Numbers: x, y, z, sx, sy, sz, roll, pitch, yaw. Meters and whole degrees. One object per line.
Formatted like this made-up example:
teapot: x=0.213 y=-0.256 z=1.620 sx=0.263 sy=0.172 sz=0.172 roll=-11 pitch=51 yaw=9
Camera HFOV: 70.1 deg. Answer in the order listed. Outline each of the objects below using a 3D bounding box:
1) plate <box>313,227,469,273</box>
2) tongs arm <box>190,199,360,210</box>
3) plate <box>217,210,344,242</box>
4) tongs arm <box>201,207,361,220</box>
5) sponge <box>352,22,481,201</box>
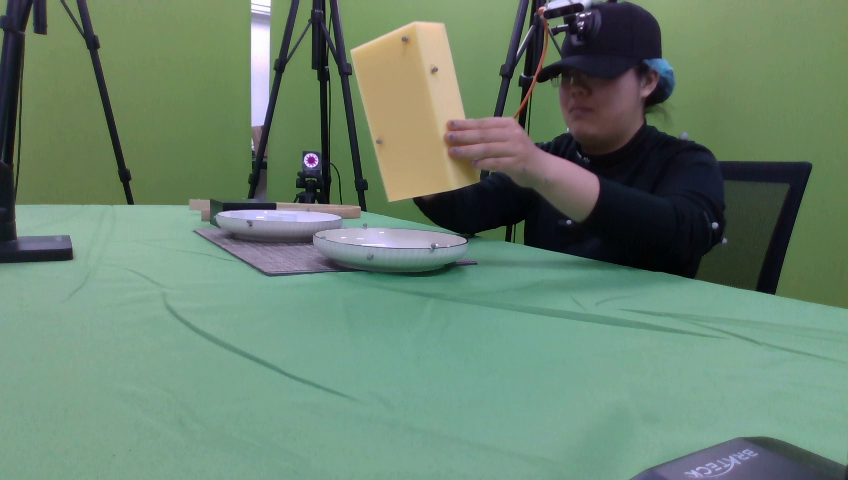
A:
plate: x=-0.044 y=0.012 z=0.807 sx=0.209 sy=0.038 sz=0.209 roll=2 pitch=7 yaw=0
tongs arm: x=-0.341 y=-0.075 z=1.419 sx=0.387 sy=0.026 sz=0.050 roll=1 pitch=8 yaw=-25
plate: x=-0.241 y=-0.024 z=1.026 sx=0.208 sy=0.039 sz=0.207 roll=3 pitch=7 yaw=0
tongs arm: x=-0.302 y=-0.060 z=1.350 sx=0.390 sy=0.028 sz=0.028 roll=-3 pitch=7 yaw=-38
sponge: x=-0.010 y=-0.163 z=0.788 sx=0.117 sy=0.206 sz=0.061 roll=-9 pitch=8 yaw=42
